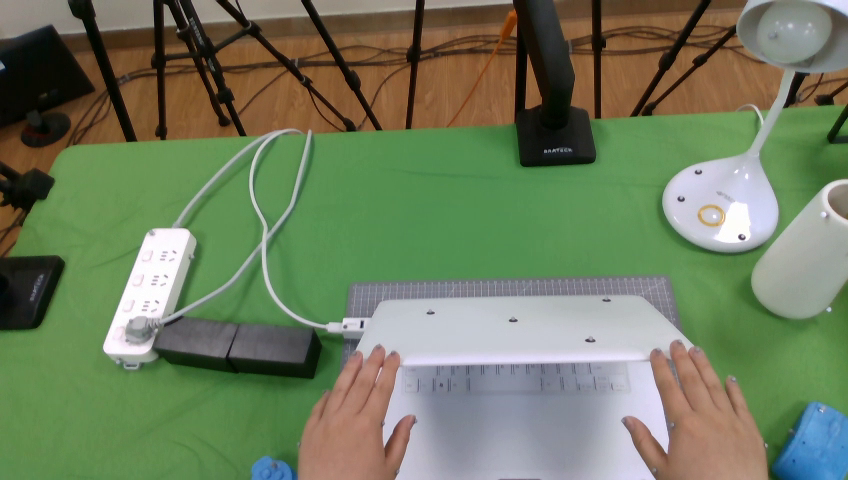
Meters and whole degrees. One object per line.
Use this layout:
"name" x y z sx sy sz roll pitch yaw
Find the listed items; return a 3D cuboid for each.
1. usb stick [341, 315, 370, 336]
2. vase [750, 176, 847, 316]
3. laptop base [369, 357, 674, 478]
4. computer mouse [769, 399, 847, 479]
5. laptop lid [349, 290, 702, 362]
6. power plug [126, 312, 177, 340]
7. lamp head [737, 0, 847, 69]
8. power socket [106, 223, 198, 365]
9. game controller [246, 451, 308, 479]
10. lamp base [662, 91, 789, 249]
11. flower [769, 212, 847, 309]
"usb stick" -0.079 0.114 0.809 0.059 0.027 0.021 2 54 2
"vase" 0.474 0.011 0.736 0.098 0.202 0.097 -3 55 5
"laptop base" 0.113 0.178 0.765 0.354 0.023 0.233 -2 59 4
"computer mouse" 0.447 0.232 0.686 0.062 0.041 0.117 36 61 29
"laptop lid" 0.106 0.094 0.708 0.356 0.241 0.013 -1 100 6
"power plug" -0.365 0.120 0.814 0.072 0.053 0.035 10 58 9
"lamp head" 0.369 -0.236 0.562 0.112 0.113 0.122 25 79 21
"power socket" -0.388 0.069 0.874 0.072 0.033 0.224 1 56 5
"game controller" -0.201 0.312 0.686 0.155 0.052 0.096 -34 57 -18
"lamp base" 0.434 -0.107 0.831 0.159 0.182 0.178 28 60 22
"flower" 0.484 -0.043 0.672 0.038 0.364 0.043 -4 44 -18
